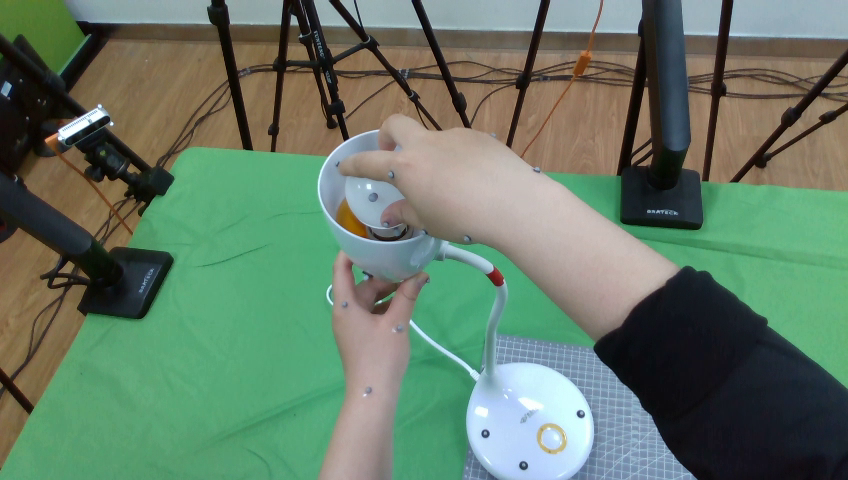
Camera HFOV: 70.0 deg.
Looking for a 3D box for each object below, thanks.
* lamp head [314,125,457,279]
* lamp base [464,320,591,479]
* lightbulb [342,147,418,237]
[{"bbox_3d":[-0.026,-0.018,0.516,0.112,0.124,0.111,-2,58,4],"label":"lamp head"},{"bbox_3d":[0.113,0.174,0.717,0.177,0.182,0.160,29,63,28],"label":"lamp base"},{"bbox_3d":[-0.034,-0.031,0.491,0.059,0.108,0.059,0,62,0],"label":"lightbulb"}]
